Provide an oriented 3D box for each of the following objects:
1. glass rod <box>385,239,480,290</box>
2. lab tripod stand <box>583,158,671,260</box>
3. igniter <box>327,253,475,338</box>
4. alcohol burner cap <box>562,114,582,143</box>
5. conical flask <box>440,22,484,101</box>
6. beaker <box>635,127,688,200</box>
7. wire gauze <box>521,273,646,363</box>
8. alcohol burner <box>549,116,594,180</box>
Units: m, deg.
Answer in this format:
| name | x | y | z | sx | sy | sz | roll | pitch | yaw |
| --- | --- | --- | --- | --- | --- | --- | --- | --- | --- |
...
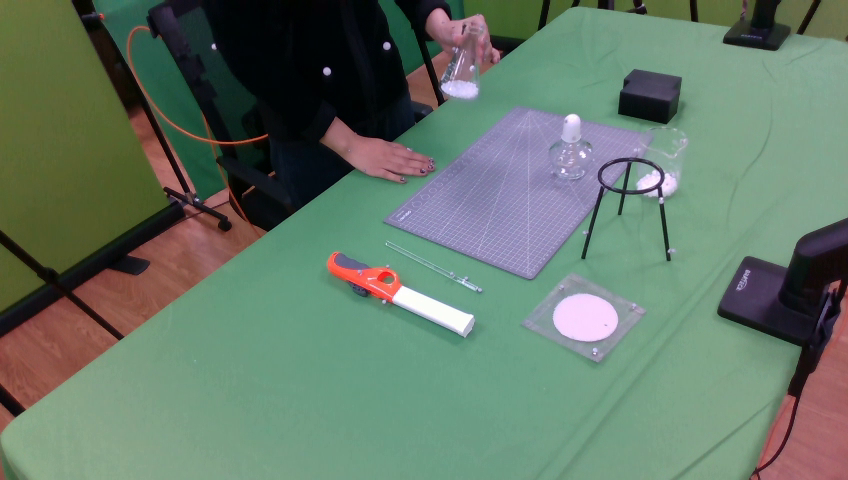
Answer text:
| name | x | y | z | sx | sy | sz | roll | pitch | yaw |
| --- | --- | --- | --- | --- | --- | --- | --- | --- | --- |
| glass rod | 0.009 | 0.037 | 0.950 | 0.198 | 0.008 | 0.008 | 26 | 52 | 35 |
| lab tripod stand | 0.300 | -0.046 | 0.895 | 0.148 | 0.132 | 0.147 | -7 | 38 | 6 |
| igniter | -0.045 | 0.077 | 0.898 | 0.274 | 0.025 | 0.057 | 22 | 60 | 32 |
| alcohol burner cap | 0.254 | -0.192 | 1.030 | 0.034 | 0.048 | 0.033 | -4 | 50 | 6 |
| conical flask | 0.073 | -0.310 | 1.046 | 0.075 | 0.122 | 0.075 | 8 | 33 | -5 |
| beaker | 0.388 | -0.122 | 0.994 | 0.074 | 0.101 | 0.083 | -8 | 40 | 2 |
| wire gauze | 0.219 | 0.105 | 0.830 | 0.120 | 0.011 | 0.125 | 28 | 54 | 37 |
| alcohol burner | 0.258 | -0.166 | 1.055 | 0.078 | 0.120 | 0.077 | -6 | 42 | 6 |
